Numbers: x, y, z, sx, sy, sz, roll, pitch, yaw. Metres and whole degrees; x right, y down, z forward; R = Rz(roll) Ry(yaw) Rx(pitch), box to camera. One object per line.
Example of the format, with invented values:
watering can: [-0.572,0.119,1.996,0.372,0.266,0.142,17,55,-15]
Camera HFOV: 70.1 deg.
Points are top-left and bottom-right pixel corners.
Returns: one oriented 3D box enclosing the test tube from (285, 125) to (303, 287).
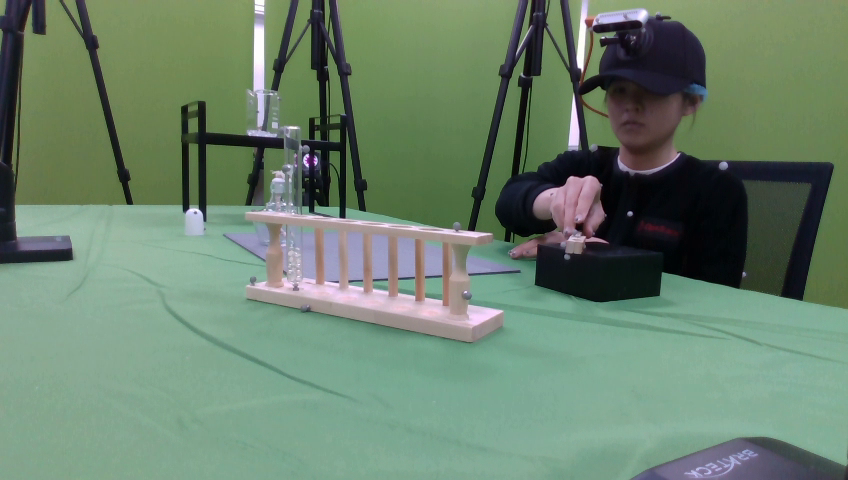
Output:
test tube: [-0.120,-0.030,0.558,0.017,0.150,0.017,2,10,0]

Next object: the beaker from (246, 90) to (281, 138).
beaker: [-0.354,-0.275,1.322,0.074,0.100,0.084,4,8,12]

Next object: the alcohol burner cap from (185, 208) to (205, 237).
alcohol burner cap: [-0.392,-0.031,1.032,0.034,0.048,0.034,3,8,0]

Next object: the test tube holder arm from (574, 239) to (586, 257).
test tube holder arm: [0.170,0.008,0.659,0.010,0.015,0.088,20,9,12]

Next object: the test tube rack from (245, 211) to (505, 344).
test tube rack: [-0.049,0.025,0.547,0.241,0.085,0.067,7,8,29]

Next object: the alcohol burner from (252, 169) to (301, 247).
alcohol burner: [-0.227,-0.050,0.937,0.078,0.119,0.078,1,7,0]

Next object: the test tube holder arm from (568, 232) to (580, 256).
test tube holder arm: [0.176,0.002,0.704,0.013,0.015,0.179,20,9,11]
